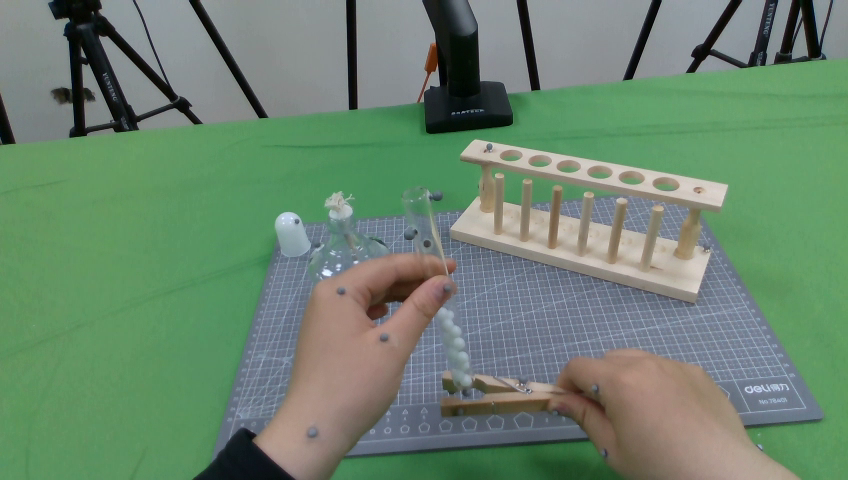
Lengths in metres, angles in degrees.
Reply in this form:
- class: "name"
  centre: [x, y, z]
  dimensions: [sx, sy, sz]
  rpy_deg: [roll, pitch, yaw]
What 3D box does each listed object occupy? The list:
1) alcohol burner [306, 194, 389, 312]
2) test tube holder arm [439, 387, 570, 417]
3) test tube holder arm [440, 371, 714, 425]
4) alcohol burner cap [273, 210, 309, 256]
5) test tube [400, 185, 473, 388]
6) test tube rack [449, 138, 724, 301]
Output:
- class: "alcohol burner"
  centre: [-0.071, 0.007, 0.546]
  dimensions: [0.078, 0.120, 0.077]
  rpy_deg: [-3, 40, 3]
- class: "test tube holder arm"
  centre: [0.054, 0.109, 0.411]
  dimensions: [0.088, 0.015, 0.010]
  rpy_deg: [-6, 43, 2]
- class: "test tube holder arm"
  centre: [0.099, 0.105, 0.408]
  dimensions: [0.178, 0.015, 0.013]
  rpy_deg: [4, 46, 12]
- class: "alcohol burner cap"
  centre: [-0.142, -0.010, 0.636]
  dimensions: [0.034, 0.048, 0.033]
  rpy_deg: [-3, 40, 3]
- class: "test tube"
  centre: [0.010, 0.034, 0.369]
  dimensions: [0.017, 0.151, 0.017]
  rpy_deg: [-11, 32, 7]
- class: "test tube rack"
  centre: [0.142, -0.026, 0.578]
  dimensions: [0.241, 0.086, 0.066]
  rpy_deg: [15, 44, 26]
